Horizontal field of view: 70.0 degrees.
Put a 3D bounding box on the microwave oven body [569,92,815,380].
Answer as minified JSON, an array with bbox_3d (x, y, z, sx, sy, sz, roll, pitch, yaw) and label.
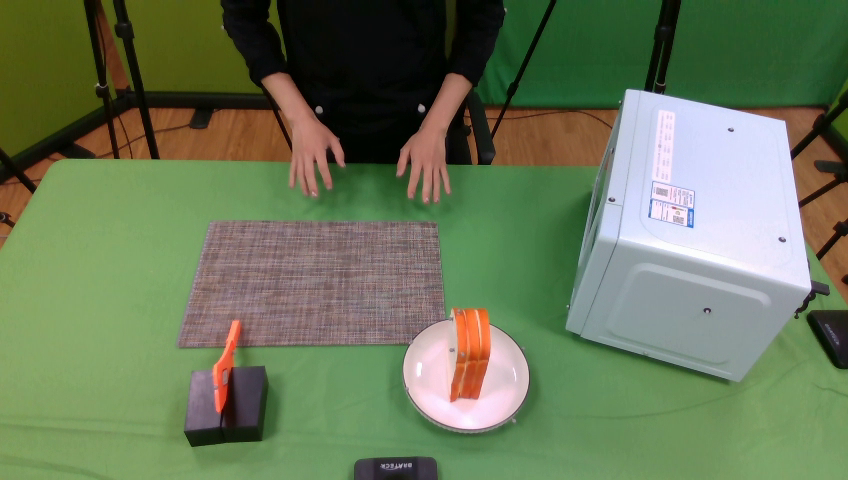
[{"bbox_3d":[0.468,-0.021,1.082,0.325,0.261,0.440,15,46,11],"label":"microwave oven body"}]

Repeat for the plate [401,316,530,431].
[{"bbox_3d":[0.066,0.217,0.982,0.208,0.039,0.206,2,46,-2],"label":"plate"}]

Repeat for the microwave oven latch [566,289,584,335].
[{"bbox_3d":[0.267,0.126,1.059,0.030,0.029,0.079,15,46,11],"label":"microwave oven latch"}]

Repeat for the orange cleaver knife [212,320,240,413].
[{"bbox_3d":[-0.306,0.190,0.944,0.012,0.077,0.210,-4,17,-7],"label":"orange cleaver knife"}]

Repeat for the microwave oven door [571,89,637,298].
[{"bbox_3d":[0.343,-0.091,1.133,0.039,0.245,0.354,15,47,10],"label":"microwave oven door"}]

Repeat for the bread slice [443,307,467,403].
[{"bbox_3d":[0.048,0.171,0.948,0.018,0.135,0.106,0,42,-7],"label":"bread slice"}]
